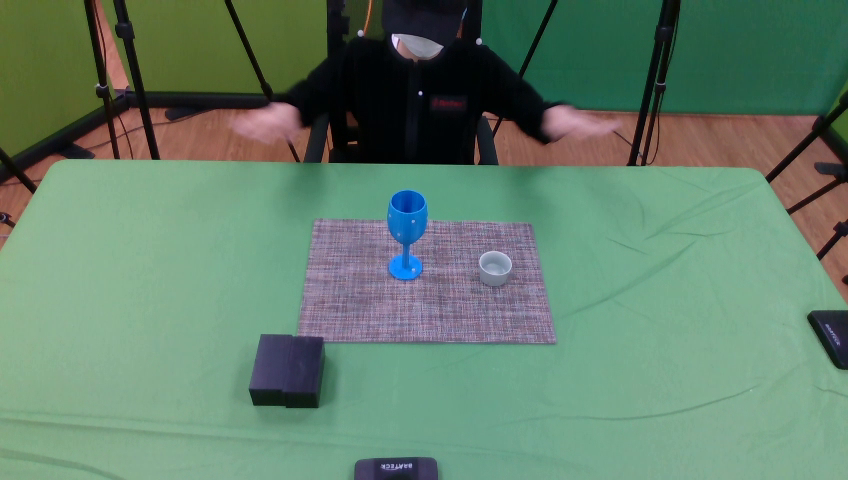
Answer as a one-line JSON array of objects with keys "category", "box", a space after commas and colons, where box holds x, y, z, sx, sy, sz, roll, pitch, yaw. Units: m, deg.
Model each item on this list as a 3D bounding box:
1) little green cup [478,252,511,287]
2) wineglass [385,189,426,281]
[{"category": "little green cup", "box": [0.131, 0.057, 1.137, 0.061, 0.039, 0.061, 2, 46, -2]}, {"category": "wineglass", "box": [-0.034, -0.006, 1.091, 0.074, 0.173, 0.073, 2, 46, -2]}]
